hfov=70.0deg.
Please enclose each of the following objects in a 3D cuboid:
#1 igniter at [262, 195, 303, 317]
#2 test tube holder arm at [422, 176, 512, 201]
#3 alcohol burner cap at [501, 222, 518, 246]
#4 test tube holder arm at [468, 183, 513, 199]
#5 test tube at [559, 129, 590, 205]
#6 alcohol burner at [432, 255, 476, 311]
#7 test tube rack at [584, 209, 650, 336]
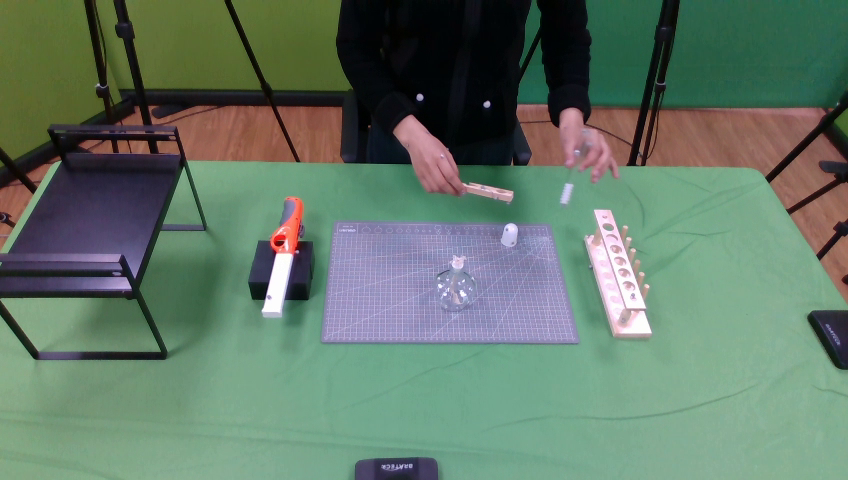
[{"bbox_3d":[-0.253,0.020,1.090,0.057,0.025,0.275,0,49,-1],"label":"igniter"},{"bbox_3d":[0.078,-0.097,1.132,0.178,0.015,0.013,12,36,20],"label":"test tube holder arm"},{"bbox_3d":[0.173,-0.013,1.206,0.034,0.048,0.033,0,48,0],"label":"alcohol burner cap"},{"bbox_3d":[0.121,-0.091,1.121,0.087,0.015,0.010,13,36,20],"label":"test tube holder arm"},{"bbox_3d":[0.262,-0.125,1.062,0.017,0.151,0.017,6,37,-4],"label":"test tube"},{"bbox_3d":[0.055,0.070,1.068,0.078,0.119,0.077,3,45,-3],"label":"alcohol burner"},{"bbox_3d":[0.365,0.056,1.129,0.067,0.085,0.240,1,46,-3],"label":"test tube rack"}]
